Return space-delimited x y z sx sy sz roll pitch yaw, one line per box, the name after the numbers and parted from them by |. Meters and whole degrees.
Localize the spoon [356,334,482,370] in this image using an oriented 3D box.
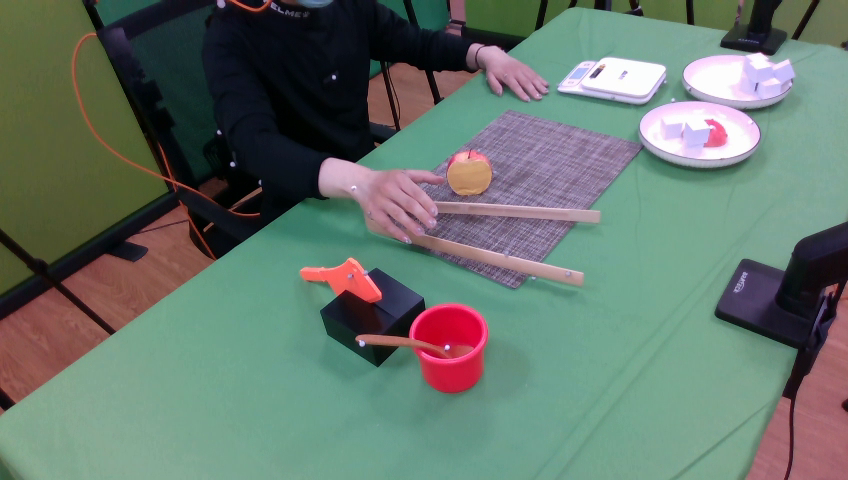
-0.001 0.130 0.731 0.195 0.021 0.041 21 28 -39 | spoon

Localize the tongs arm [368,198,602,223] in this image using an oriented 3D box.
0.096 -0.047 1.008 0.386 0.028 0.028 3 46 13 | tongs arm

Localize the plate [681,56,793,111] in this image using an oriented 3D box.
0.636 -0.317 1.239 0.207 0.039 0.206 -4 40 4 | plate

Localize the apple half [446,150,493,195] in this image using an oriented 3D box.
0.080 -0.123 1.065 0.081 0.075 0.053 -7 36 7 | apple half

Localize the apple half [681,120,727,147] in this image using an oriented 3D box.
0.518 -0.202 1.115 0.081 0.033 0.081 -1 40 2 | apple half

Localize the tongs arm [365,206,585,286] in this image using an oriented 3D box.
0.066 0.004 0.950 0.382 0.026 0.051 13 45 23 | tongs arm

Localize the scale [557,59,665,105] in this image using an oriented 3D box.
0.406 -0.348 1.314 0.199 0.032 0.149 19 47 28 | scale

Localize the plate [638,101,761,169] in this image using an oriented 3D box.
0.500 -0.189 1.111 0.209 0.038 0.208 -4 41 4 | plate

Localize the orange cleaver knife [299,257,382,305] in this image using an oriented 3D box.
-0.124 0.062 0.872 0.012 0.077 0.210 -38 17 -30 | orange cleaver knife
